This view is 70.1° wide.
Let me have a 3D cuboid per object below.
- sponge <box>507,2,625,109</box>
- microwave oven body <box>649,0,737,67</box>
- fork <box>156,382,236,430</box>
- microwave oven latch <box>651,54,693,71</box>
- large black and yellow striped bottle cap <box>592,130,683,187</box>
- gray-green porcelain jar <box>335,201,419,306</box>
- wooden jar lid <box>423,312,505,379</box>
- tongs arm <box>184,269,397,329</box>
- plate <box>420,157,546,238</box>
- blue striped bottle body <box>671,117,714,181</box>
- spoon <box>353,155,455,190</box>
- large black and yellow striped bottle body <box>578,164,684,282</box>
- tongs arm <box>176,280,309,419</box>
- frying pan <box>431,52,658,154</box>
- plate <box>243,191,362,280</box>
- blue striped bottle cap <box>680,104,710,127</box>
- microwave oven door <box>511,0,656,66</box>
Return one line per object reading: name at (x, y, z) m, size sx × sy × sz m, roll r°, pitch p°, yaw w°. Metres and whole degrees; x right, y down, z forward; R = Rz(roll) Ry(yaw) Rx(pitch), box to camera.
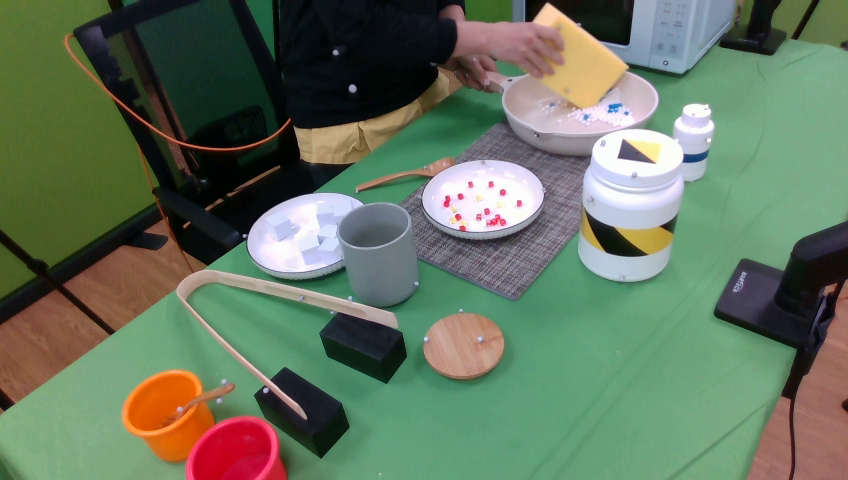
sponge at (0.282, -0.356, 1.193) m, size 0.209 × 0.118 × 0.060 m, roll 22°, pitch 30°, yaw -32°
microwave oven body at (0.475, -0.602, 1.411) m, size 0.438 × 0.261 × 0.327 m, roll 23°, pitch 50°, yaw 32°
fork at (-0.262, 0.189, 0.690) m, size 0.018 × 0.206 × 0.028 m, roll 49°, pitch 43°, yaw -7°
microwave oven latch at (0.532, -0.386, 1.301) m, size 0.078 × 0.029 × 0.030 m, roll 26°, pitch 51°, yaw 33°
large black and yellow striped bottle cap at (0.282, -0.111, 0.803) m, size 0.115 × 0.019 × 0.114 m, roll -3°, pitch 41°, yaw 3°
gray-green porcelain jar at (-0.064, 0.024, 0.872) m, size 0.106 × 0.127 × 0.105 m, roll -4°, pitch 41°, yaw 4°
wooden jar lid at (0.053, 0.142, 0.800) m, size 0.108 × 0.021 × 0.108 m, roll -5°, pitch 39°, yaw 4°
tongs arm at (-0.202, 0.084, 0.848) m, size 0.382 × 0.027 × 0.051 m, roll 11°, pitch 45°, yaw 35°
plate at (0.099, -0.067, 1.017) m, size 0.209 × 0.038 × 0.208 m, roll -4°, pitch 40°, yaw 4°
blue striped bottle body at (0.449, -0.165, 1.022) m, size 0.063 × 0.121 × 0.063 m, roll -5°, pitch 41°, yaw 4°
spoon at (-0.038, -0.123, 1.116) m, size 0.194 × 0.022 × 0.041 m, roll -12°, pitch 58°, yaw -4°
large black and yellow striped bottle body at (0.292, -0.046, 0.859) m, size 0.131 × 0.185 × 0.130 m, roll -4°, pitch 41°, yaw 4°
tongs arm at (-0.254, 0.133, 0.801) m, size 0.028 × 0.028 × 0.384 m, roll -41°, pitch 41°, yaw -23°
frying pan at (0.216, -0.301, 1.223) m, size 0.484 × 0.103 × 0.308 m, roll 29°, pitch 49°, yaw 24°
plate at (-0.187, -0.005, 0.992) m, size 0.207 × 0.039 × 0.206 m, roll -4°, pitch 41°, yaw 4°
blue striped bottle cap at (0.443, -0.205, 0.989) m, size 0.044 × 0.021 × 0.044 m, roll -2°, pitch 41°, yaw 2°
microwave oven door at (0.351, -0.540, 1.349) m, size 0.353 × 0.245 × 0.039 m, roll 24°, pitch 50°, yaw 31°
